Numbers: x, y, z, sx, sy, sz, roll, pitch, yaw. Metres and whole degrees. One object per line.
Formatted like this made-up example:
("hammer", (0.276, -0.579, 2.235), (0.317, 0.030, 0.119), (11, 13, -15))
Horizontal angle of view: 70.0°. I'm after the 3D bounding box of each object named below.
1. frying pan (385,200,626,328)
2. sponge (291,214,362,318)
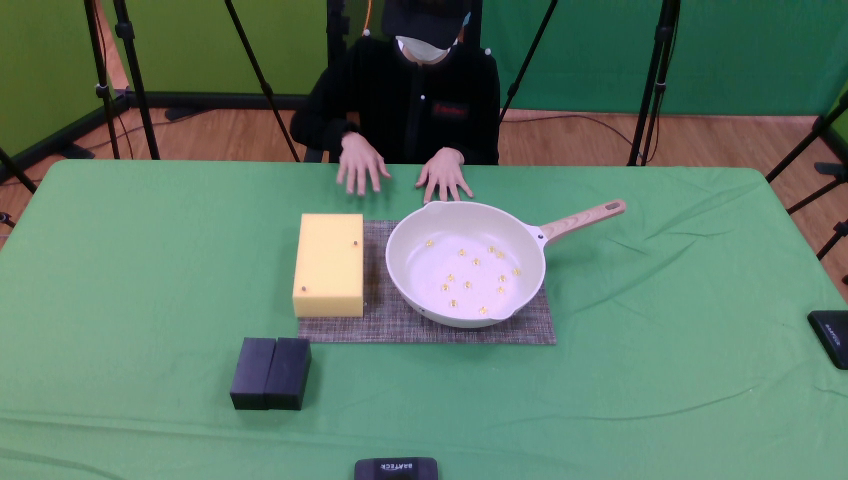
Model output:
("frying pan", (0.169, 0.014, 1.137), (0.488, 0.103, 0.304), (-19, 51, -11))
("sponge", (-0.173, 0.044, 1.112), (0.118, 0.061, 0.205), (-1, 46, -5))
